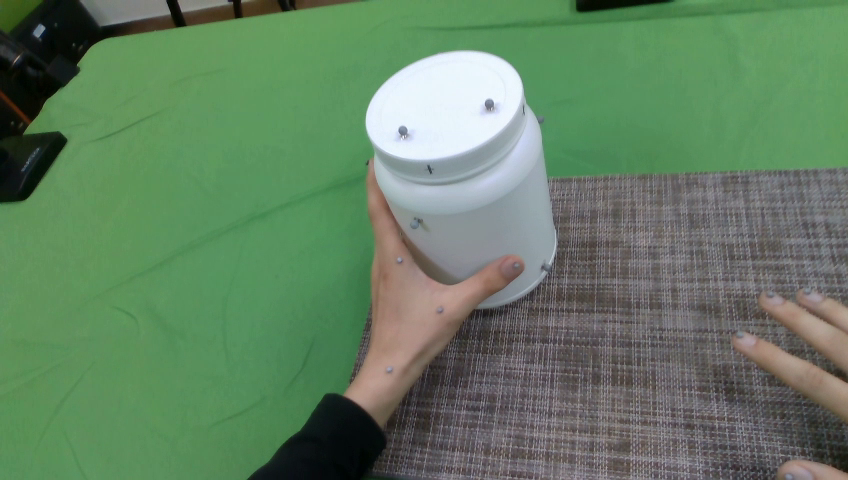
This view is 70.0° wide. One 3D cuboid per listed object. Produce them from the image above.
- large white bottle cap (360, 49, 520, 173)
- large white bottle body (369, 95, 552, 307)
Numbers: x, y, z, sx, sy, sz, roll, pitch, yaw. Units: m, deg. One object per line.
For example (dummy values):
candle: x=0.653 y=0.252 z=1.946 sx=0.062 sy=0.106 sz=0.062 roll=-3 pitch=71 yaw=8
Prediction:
large white bottle cap: x=0.010 y=-0.094 z=0.429 sx=0.114 sy=0.018 sz=0.113 roll=-9 pitch=51 yaw=11
large white bottle body: x=0.032 y=-0.044 z=0.494 sx=0.130 sy=0.186 sz=0.129 roll=-9 pitch=51 yaw=11
